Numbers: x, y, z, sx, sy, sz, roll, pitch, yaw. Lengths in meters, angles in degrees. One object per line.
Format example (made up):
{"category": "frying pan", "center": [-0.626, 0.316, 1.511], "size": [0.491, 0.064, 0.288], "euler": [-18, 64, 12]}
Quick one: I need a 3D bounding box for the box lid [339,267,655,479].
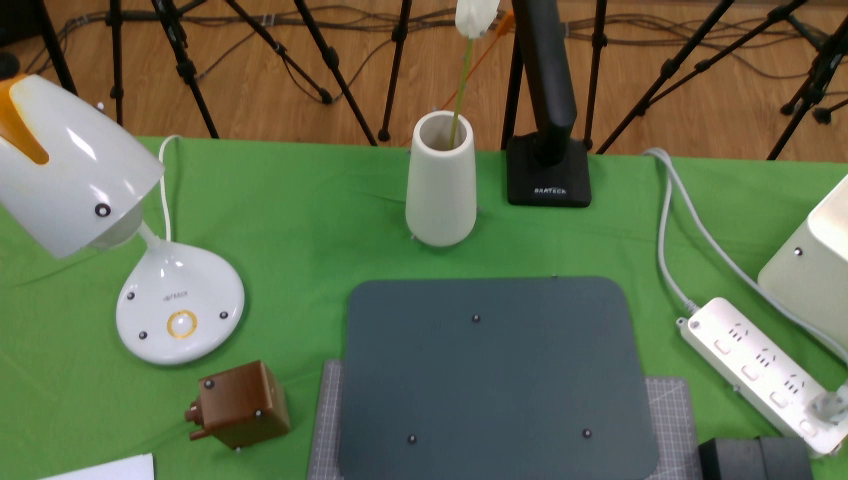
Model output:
{"category": "box lid", "center": [0.086, 0.154, 0.750], "size": [0.372, 0.015, 0.261], "euler": [-1, 61, -1]}

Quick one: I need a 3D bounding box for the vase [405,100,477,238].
{"category": "vase", "center": [0.024, -0.085, 0.775], "size": [0.098, 0.201, 0.097], "euler": [1, 60, -1]}

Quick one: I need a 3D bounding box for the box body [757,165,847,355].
{"category": "box body", "center": [0.632, 0.058, 0.720], "size": [0.254, 0.161, 0.361], "euler": [-37, 68, -19]}

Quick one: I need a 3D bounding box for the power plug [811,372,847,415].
{"category": "power plug", "center": [0.483, 0.176, 0.702], "size": [0.072, 0.053, 0.035], "euler": [-22, 61, -17]}

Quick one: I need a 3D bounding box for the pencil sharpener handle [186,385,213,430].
{"category": "pencil sharpener handle", "center": [-0.249, 0.187, 0.661], "size": [0.031, 0.068, 0.035], "euler": [-16, 49, -8]}

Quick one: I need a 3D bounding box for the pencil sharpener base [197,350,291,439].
{"category": "pencil sharpener base", "center": [-0.201, 0.176, 0.681], "size": [0.077, 0.108, 0.061], "euler": [-16, 63, -8]}

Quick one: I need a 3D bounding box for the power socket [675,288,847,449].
{"category": "power socket", "center": [0.414, 0.153, 0.741], "size": [0.072, 0.033, 0.225], "euler": [-34, 66, -17]}

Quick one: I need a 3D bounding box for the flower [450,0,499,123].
{"category": "flower", "center": [0.034, -0.137, 0.709], "size": [0.044, 0.364, 0.038], "euler": [-15, 50, -26]}

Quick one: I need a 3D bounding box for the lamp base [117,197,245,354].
{"category": "lamp base", "center": [-0.320, 0.024, 0.722], "size": [0.161, 0.182, 0.177], "euler": [-25, 62, -13]}

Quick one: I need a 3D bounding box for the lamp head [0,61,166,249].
{"category": "lamp head", "center": [-0.281, -0.072, 0.460], "size": [0.112, 0.124, 0.111], "euler": [-29, 27, 17]}
